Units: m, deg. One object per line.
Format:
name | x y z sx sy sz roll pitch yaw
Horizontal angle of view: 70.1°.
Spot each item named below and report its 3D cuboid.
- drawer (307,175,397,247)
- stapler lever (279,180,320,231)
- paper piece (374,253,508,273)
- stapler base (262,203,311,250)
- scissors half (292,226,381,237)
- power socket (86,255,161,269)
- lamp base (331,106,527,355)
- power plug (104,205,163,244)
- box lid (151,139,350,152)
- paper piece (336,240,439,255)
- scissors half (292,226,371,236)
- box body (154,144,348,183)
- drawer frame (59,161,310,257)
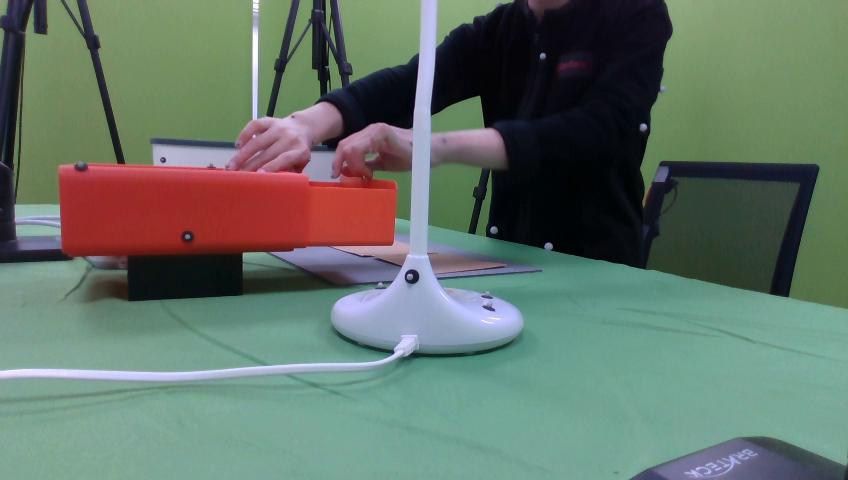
drawer | -0.161 -0.037 0.674 0.213 0.073 0.193 -2 9 -26
stapler lever | -0.134 -0.040 0.659 0.027 0.040 0.118 26 7 -11
paper piece | 0.021 0.029 0.829 0.139 0.008 0.135 -1 11 -37
stapler base | -0.144 -0.023 0.664 0.041 0.024 0.130 26 12 -11
scissors half | -0.153 -0.015 1.079 0.176 0.013 0.040 -7 2 -33
power socket | -0.409 0.004 0.793 0.072 0.032 0.225 -2 8 -38
lamp base | 0.006 -0.012 0.478 0.161 0.180 0.179 2 10 2
power plug | -0.390 -0.021 0.815 0.073 0.052 0.035 -1 8 -28
box lid | -0.352 -0.191 1.255 0.373 0.015 0.262 0 8 -18
paper piece | -0.068 0.011 0.936 0.136 0.004 0.134 -2 9 -33
scissors half | -0.166 -0.015 1.094 0.040 0.013 0.176 3 7 39
box body | -0.357 -0.119 1.264 0.365 0.160 0.253 0 7 -18
drawer frame | -0.245 -0.038 0.630 0.215 0.082 0.200 -2 9 -26
